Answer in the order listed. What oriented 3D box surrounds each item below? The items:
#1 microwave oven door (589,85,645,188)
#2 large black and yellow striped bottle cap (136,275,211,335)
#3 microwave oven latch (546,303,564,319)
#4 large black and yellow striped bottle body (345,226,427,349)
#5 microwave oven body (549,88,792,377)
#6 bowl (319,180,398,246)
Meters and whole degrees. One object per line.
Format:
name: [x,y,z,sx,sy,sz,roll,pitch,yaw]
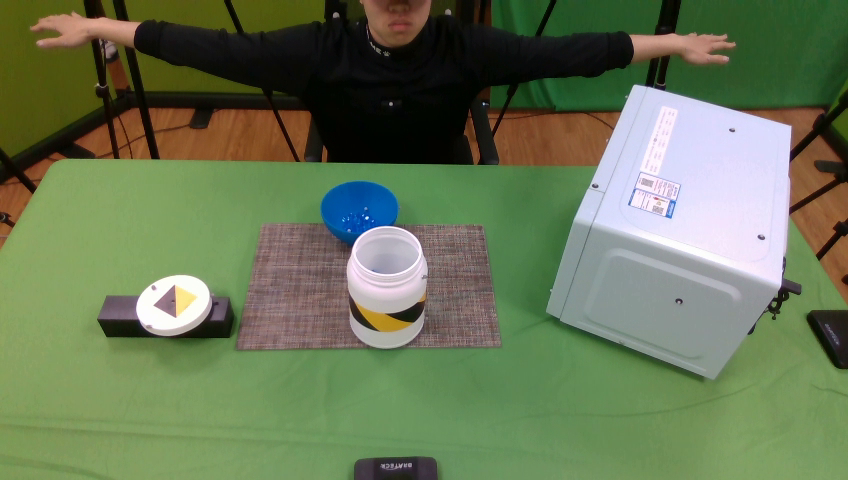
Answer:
microwave oven door: [0.342,-0.107,1.149,0.039,0.245,0.354,20,48,15]
large black and yellow striped bottle cap: [-0.412,0.105,0.999,0.115,0.019,0.114,3,46,-3]
microwave oven latch: [0.242,0.102,1.081,0.030,0.029,0.079,21,48,17]
large black and yellow striped bottle body: [-0.062,0.078,0.998,0.131,0.185,0.130,2,46,-2]
microwave oven body: [0.456,-0.028,1.088,0.325,0.261,0.440,20,47,16]
bowl: [-0.126,-0.039,1.181,0.151,0.077,0.150,3,46,-2]
